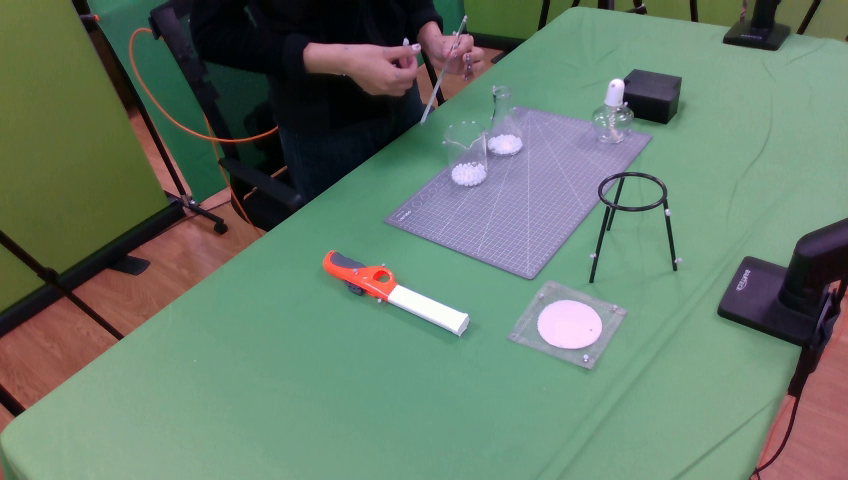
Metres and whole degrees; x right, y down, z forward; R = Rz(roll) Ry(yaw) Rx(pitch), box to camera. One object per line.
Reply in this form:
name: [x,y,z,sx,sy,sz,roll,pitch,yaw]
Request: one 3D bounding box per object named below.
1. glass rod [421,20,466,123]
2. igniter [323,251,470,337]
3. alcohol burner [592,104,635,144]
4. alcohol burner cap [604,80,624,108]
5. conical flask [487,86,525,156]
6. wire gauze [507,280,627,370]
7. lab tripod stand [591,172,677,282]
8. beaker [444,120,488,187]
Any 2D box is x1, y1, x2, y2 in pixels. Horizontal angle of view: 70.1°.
glass rod: [0.034,-0.301,1.081,0.008,0.008,0.199,23,90,33]
igniter: [-0.052,0.075,0.901,0.274,0.025,0.057,22,60,32]
alcohol burner: [0.353,-0.242,1.126,0.078,0.119,0.077,-5,38,5]
alcohol burner cap: [0.350,-0.269,1.102,0.034,0.048,0.033,-2,46,2]
conical flask: [0.152,-0.226,1.140,0.075,0.122,0.075,-5,40,5]
wire gauze: [0.196,0.114,0.823,0.120,0.011,0.125,20,50,31]
lab tripod stand: [0.292,-0.022,0.867,0.148,0.132,0.147,-7,39,6]
beaker: [0.078,-0.150,1.083,0.074,0.101,0.083,-9,40,1]
